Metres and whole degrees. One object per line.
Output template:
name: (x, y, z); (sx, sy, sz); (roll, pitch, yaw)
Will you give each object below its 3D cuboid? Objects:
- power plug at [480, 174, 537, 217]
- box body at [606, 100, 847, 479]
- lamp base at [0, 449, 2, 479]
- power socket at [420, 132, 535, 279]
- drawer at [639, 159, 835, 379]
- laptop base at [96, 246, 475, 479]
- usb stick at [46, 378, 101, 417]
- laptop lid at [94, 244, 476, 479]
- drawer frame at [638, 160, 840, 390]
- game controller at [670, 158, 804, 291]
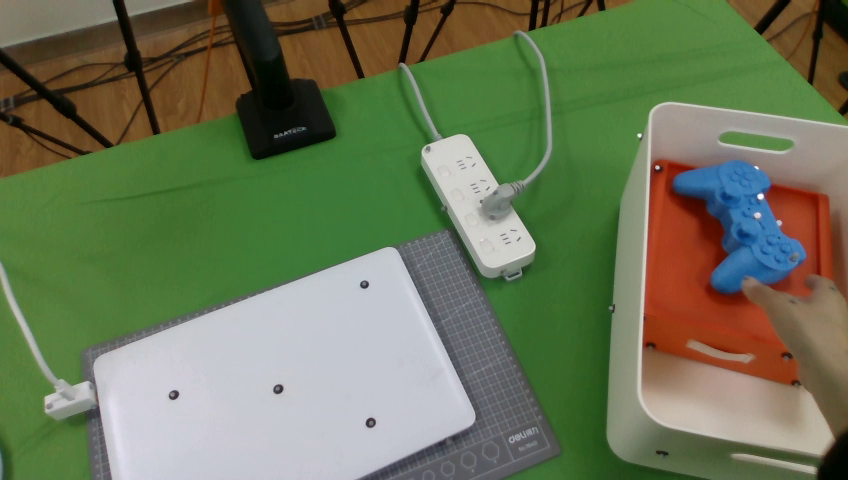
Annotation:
power plug: (0.104, -0.047, 0.737); (0.072, 0.053, 0.035); (-10, 57, -7)
box body: (0.330, 0.054, 0.619); (0.254, 0.162, 0.361); (10, 59, 7)
lamp base: (-0.514, 0.205, 0.530); (0.179, 0.182, 0.159); (4, 58, 7)
power socket: (0.064, -0.050, 0.766); (0.072, 0.033, 0.224); (-20, 59, -12)
drawer: (0.334, 0.027, 0.671); (0.194, 0.074, 0.210); (14, 62, 10)
laptop base: (-0.151, 0.159, 0.647); (0.355, 0.023, 0.233); (-21, 64, -12)
usb stick: (-0.359, 0.162, 0.634); (0.059, 0.027, 0.021); (-17, 54, -13)
laptop lid: (-0.150, 0.155, 0.636); (0.357, 0.013, 0.239); (-20, 62, -11)
drawer frame: (0.330, 0.030, 0.673); (0.201, 0.083, 0.212); (15, 55, 8)
game controller: (0.335, -0.024, 0.648); (0.097, 0.052, 0.153); (-3, 58, -6)
